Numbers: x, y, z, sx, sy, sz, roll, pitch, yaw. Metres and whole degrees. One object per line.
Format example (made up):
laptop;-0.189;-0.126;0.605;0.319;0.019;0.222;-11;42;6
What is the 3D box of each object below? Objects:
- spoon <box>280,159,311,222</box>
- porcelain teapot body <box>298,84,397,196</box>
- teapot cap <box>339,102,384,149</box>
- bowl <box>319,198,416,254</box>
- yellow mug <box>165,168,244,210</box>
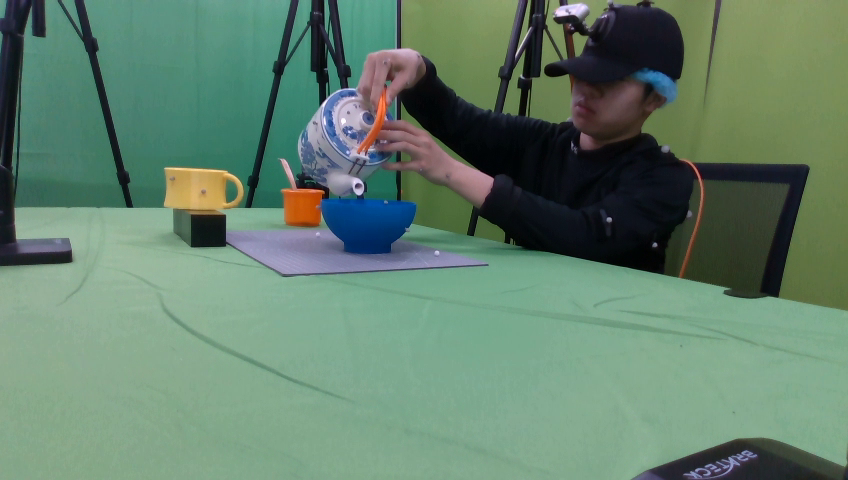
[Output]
spoon;-0.285;-0.111;1.320;0.042;0.193;0.021;-2;-36;-31
porcelain teapot body;-0.121;-0.157;1.040;0.146;0.205;0.224;10;-21;-28
teapot cap;-0.102;-0.194;1.015;0.085;0.085;0.043;-2;-12;-33
bowl;-0.089;-0.022;0.941;0.151;0.077;0.151;2;8;0
yellow mug;-0.370;-0.086;1.027;0.131;0.064;0.100;5;7;4
